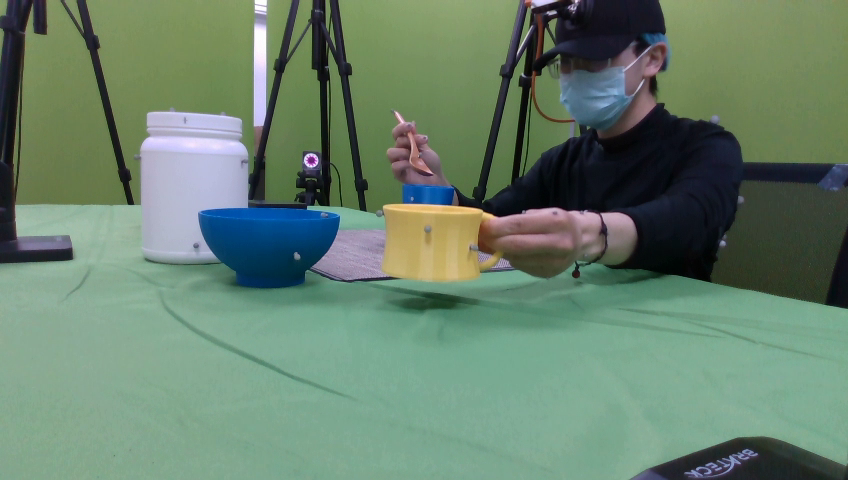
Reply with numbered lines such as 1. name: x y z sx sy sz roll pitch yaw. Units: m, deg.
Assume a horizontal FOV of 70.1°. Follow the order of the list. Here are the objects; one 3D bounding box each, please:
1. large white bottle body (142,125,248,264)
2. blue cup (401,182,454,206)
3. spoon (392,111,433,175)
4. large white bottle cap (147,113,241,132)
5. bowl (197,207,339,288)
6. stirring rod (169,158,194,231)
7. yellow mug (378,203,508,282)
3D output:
1. large white bottle body: -0.300 -0.068 0.797 0.131 0.184 0.130 2 7 0
2. blue cup: 0.003 -0.038 0.966 0.093 0.100 0.092 4 9 0
3. spoon: -0.023 -0.165 1.009 0.042 0.021 0.193 16 37 -32
4. large white bottle cap: -0.297 -0.151 0.786 0.115 0.018 0.115 2 7 0
5. bowl: -0.171 0.008 0.671 0.151 0.077 0.151 2 7 0
6. stirring rod: -0.424 -0.082 1.060 0.014 0.006 0.175 2 50 -9
7. yellow mug: 0.022 0.000 0.597 0.131 0.064 0.099 2 7 -16
